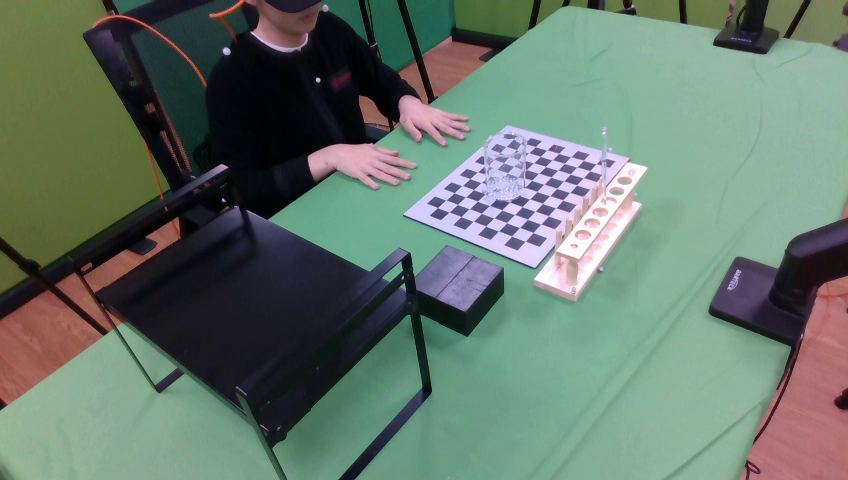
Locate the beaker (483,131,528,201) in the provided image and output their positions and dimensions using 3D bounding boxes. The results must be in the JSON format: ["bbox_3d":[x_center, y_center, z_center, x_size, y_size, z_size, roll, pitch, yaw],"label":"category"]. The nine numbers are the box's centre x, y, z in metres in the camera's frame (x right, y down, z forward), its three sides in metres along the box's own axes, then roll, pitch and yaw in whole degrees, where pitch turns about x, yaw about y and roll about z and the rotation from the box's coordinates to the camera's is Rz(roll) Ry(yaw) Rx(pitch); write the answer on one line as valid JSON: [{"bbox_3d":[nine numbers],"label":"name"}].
[{"bbox_3d":[0.143,-0.125,1.035,0.073,0.101,0.084,24,49,32],"label":"beaker"}]

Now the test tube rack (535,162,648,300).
[{"bbox_3d":[0.257,-0.024,0.916,0.066,0.085,0.243,22,49,30],"label":"test tube rack"}]

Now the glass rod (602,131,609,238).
[{"bbox_3d":[0.262,-0.074,0.871,0.008,0.201,0.008,-9,43,9],"label":"glass rod"}]
